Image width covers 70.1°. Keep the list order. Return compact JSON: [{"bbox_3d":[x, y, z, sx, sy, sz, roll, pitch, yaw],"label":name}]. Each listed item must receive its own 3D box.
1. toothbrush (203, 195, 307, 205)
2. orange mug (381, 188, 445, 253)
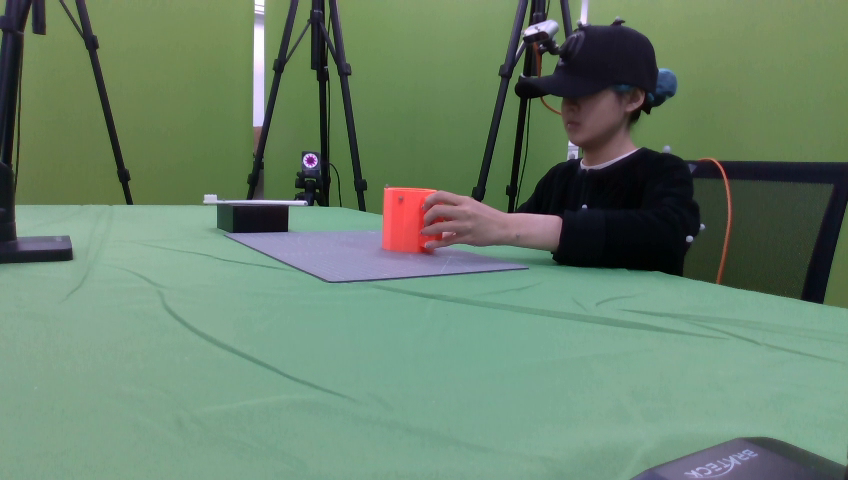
[{"bbox_3d":[-0.306,-0.072,1.105,0.183,0.016,0.014,0,4,-22],"label":"toothbrush"},{"bbox_3d":[-0.012,-0.031,0.941,0.084,0.100,0.125,-2,5,-37],"label":"orange mug"}]
